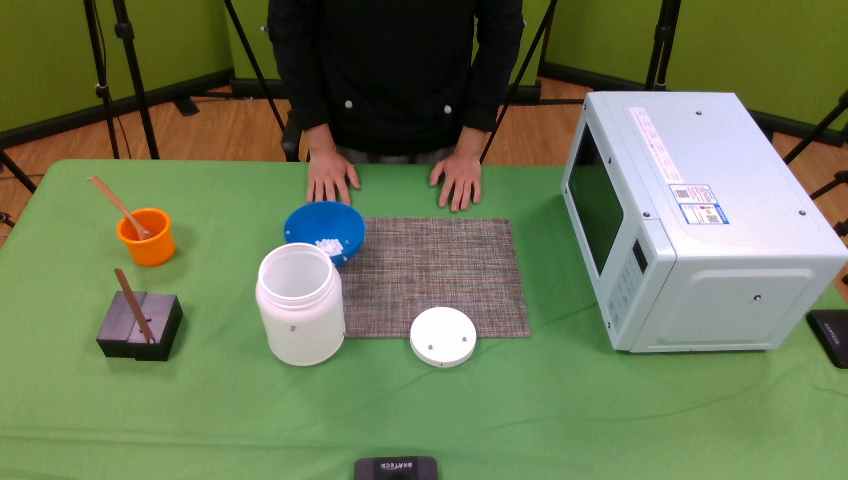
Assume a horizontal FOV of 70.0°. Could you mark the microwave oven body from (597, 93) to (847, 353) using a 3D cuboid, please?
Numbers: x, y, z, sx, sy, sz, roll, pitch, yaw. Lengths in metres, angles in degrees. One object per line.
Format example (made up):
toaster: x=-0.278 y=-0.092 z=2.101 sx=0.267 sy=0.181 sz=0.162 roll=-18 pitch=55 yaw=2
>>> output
microwave oven body: x=0.475 y=-0.041 z=1.110 sx=0.326 sy=0.261 sz=0.438 roll=-1 pitch=45 yaw=-4

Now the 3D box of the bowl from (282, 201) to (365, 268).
bowl: x=-0.187 y=0.005 z=1.137 sx=0.151 sy=0.077 sz=0.150 roll=3 pitch=46 yaw=-3

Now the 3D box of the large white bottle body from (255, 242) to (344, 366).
large white bottle body: x=-0.196 y=0.102 z=0.967 sx=0.131 sy=0.185 sz=0.130 roll=2 pitch=49 yaw=-2

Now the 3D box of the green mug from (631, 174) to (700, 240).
green mug: x=0.455 y=-0.058 z=1.155 sx=0.125 sy=0.105 sz=0.092 roll=-13 pitch=46 yaw=-10

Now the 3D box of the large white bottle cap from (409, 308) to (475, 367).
large white bottle cap: x=0.031 y=0.165 z=1.041 sx=0.115 sy=0.018 sz=0.114 roll=2 pitch=46 yaw=-2

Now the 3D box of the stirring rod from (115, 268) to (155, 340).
stirring rod: x=-0.479 y=0.103 z=0.999 sx=0.014 sy=0.006 sz=0.175 roll=7 pitch=32 yaw=-49

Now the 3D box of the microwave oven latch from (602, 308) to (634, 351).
microwave oven latch: x=0.332 y=0.153 z=1.044 sx=0.030 sy=0.029 sz=0.078 roll=-1 pitch=45 yaw=-4

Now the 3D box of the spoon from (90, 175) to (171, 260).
spoon: x=-0.539 y=-0.042 z=1.111 sx=0.021 sy=0.194 sz=0.041 roll=-14 pitch=26 yaw=52

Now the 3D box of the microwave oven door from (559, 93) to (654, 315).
microwave oven door: x=0.327 y=-0.074 z=1.123 sx=0.039 sy=0.245 sz=0.353 roll=-1 pitch=46 yaw=-5
